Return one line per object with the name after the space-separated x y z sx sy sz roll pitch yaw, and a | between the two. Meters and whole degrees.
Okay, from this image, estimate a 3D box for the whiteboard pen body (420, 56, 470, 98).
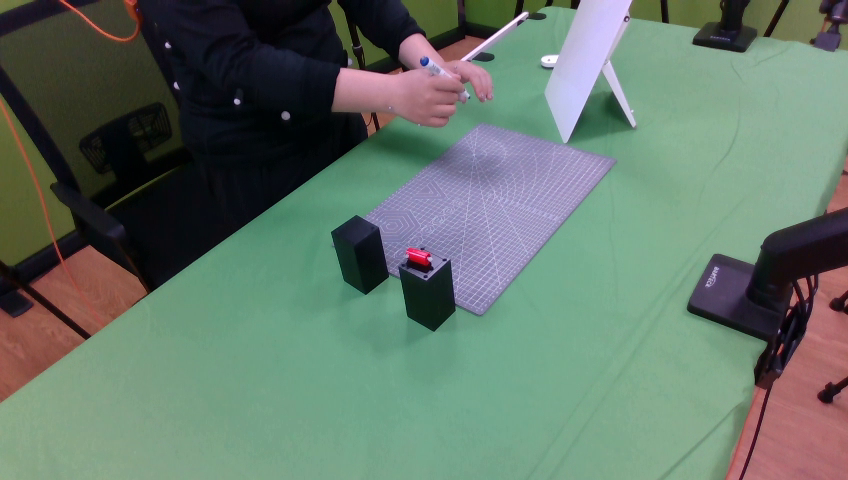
0.038 -0.254 0.960 0.017 0.142 0.017 -9 73 32 | whiteboard pen body

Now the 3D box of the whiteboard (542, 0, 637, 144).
0.366 -0.351 1.160 0.144 0.305 0.216 10 39 -10 | whiteboard

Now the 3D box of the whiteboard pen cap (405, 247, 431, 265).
-0.008 0.021 0.794 0.032 0.017 0.017 18 46 28 | whiteboard pen cap

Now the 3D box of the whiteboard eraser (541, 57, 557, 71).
0.323 -0.412 1.407 0.101 0.019 0.041 1 42 11 | whiteboard eraser
